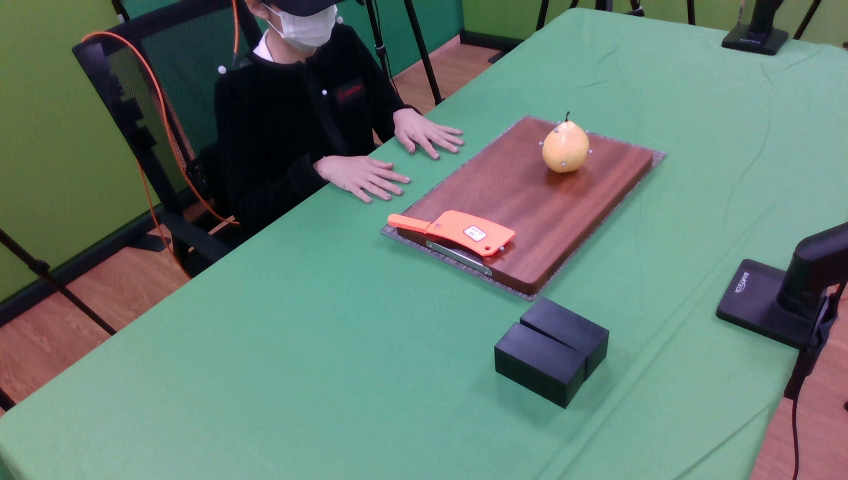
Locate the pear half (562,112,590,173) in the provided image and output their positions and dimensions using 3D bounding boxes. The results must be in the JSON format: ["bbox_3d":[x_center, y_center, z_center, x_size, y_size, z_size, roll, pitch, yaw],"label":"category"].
[{"bbox_3d":[0.253,-0.172,1.027,0.056,0.110,0.075,-18,46,-11],"label":"pear half"}]

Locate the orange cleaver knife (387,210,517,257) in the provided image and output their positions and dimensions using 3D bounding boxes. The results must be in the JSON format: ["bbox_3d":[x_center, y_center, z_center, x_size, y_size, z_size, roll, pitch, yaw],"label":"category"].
[{"bbox_3d":[0.041,-0.020,0.953,0.210,0.012,0.077,16,48,29],"label":"orange cleaver knife"}]

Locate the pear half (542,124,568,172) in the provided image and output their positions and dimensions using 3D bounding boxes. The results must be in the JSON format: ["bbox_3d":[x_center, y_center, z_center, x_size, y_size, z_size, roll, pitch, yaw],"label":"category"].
[{"bbox_3d":[0.220,-0.155,1.028,0.031,0.088,0.070,-18,46,-12],"label":"pear half"}]
